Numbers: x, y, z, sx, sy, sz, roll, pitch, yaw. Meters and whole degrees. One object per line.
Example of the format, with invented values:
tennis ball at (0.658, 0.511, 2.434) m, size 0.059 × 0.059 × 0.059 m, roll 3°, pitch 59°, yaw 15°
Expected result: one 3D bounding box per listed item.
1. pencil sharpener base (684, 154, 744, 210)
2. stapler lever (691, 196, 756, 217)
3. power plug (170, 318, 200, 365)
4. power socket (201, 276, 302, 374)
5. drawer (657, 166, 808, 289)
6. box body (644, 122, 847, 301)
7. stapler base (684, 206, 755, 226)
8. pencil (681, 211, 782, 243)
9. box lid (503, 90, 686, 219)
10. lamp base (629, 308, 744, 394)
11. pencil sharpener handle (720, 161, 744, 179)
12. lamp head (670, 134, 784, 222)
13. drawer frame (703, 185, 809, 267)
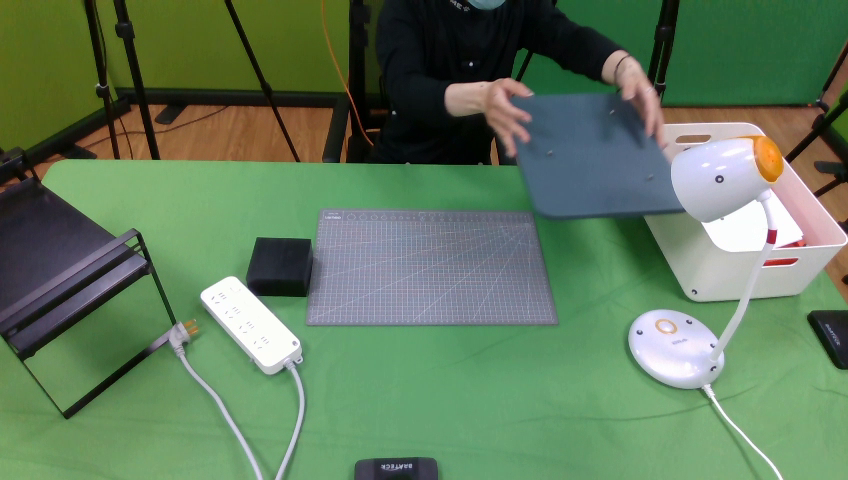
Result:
pencil sharpener base at (0.618, -0.124, 1.293) m, size 0.077 × 0.107 × 0.061 m, roll -8°, pitch 48°, yaw -12°
stapler lever at (0.586, -0.066, 1.183) m, size 0.118 × 0.040 × 0.026 m, roll 2°, pitch 59°, yaw 13°
power plug at (-0.392, 0.167, 1.013) m, size 0.052 × 0.035 × 0.072 m, roll -31°, pitch 89°, yaw -23°
power socket at (-0.297, 0.141, 1.034) m, size 0.072 × 0.033 × 0.225 m, roll -34°, pitch 58°, yaw -30°
drawer at (0.582, -0.025, 1.162) m, size 0.194 × 0.073 × 0.210 m, roll -12°, pitch 55°, yaw 3°
box body at (0.593, -0.062, 1.202) m, size 0.254 × 0.161 × 0.361 m, roll -3°, pitch 47°, yaw -7°
stapler base at (0.588, -0.052, 1.203) m, size 0.130 × 0.024 × 0.041 m, roll 2°, pitch 59°, yaw 12°
pencil at (0.598, -0.028, 1.185) m, size 0.194 × 0.012 × 0.012 m, roll 18°, pitch 48°, yaw 10°
box lid at (0.297, -0.168, 1.092) m, size 0.263 × 0.015 × 0.369 m, roll -3°, pitch 44°, yaw -4°
lamp base at (0.446, 0.139, 0.987) m, size 0.161 × 0.181 × 0.178 m, roll -18°, pitch 53°, yaw -20°
pencil sharpener handle at (0.667, -0.147, 1.299) m, size 0.031 × 0.068 × 0.036 m, roll -8°, pitch 81°, yaw -12°
lamp head at (0.422, -0.089, 0.829) m, size 0.113 × 0.123 × 0.112 m, roll 8°, pitch 74°, yaw -32°
drawer frame at (0.584, -0.023, 1.160) m, size 0.202 × 0.083 × 0.212 m, roll -12°, pitch 56°, yaw 3°
